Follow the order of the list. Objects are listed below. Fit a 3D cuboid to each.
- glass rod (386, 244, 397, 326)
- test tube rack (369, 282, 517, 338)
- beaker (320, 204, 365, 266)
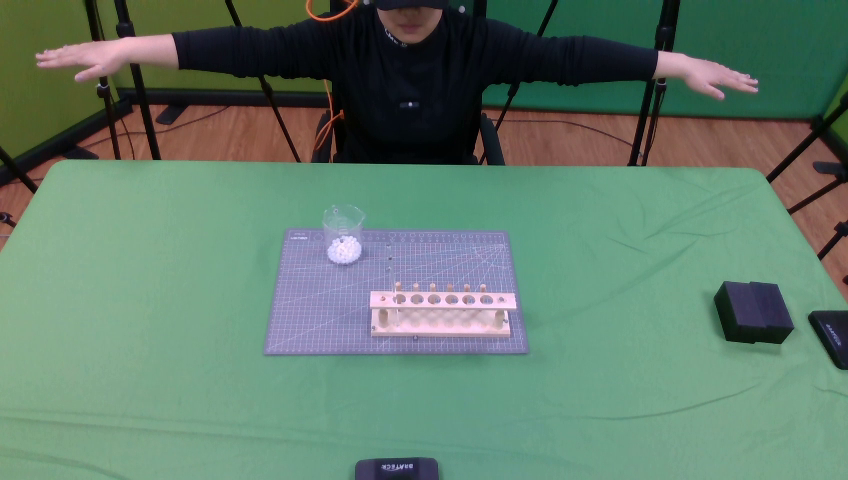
[{"bbox_3d":[-0.052,0.078,0.979,0.008,0.201,0.008,-1,45,1],"label":"glass rod"},{"bbox_3d":[0.030,0.116,1.041,0.242,0.085,0.066,1,46,-3],"label":"test tube rack"},{"bbox_3d":[-0.151,-0.008,1.137,0.084,0.101,0.073,-12,49,-16],"label":"beaker"}]
